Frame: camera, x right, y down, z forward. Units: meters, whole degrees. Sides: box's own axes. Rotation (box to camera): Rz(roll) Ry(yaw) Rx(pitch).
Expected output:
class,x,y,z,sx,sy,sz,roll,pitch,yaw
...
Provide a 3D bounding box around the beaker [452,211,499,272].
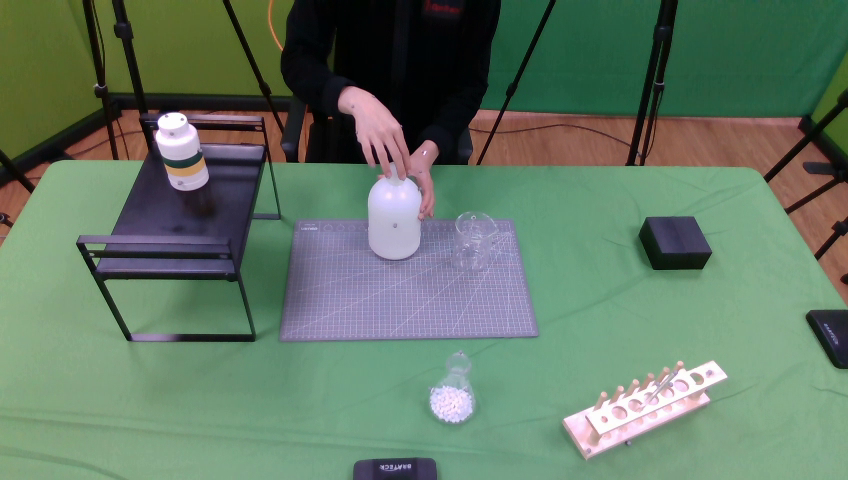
class,x,y,z,sx,sy,sz,roll,pitch,yaw
beaker,0.093,0.006,1.141,0.084,0.101,0.073,8,46,3

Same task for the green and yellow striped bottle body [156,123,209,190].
class,x,y,z,sx,sy,sz,roll,pitch,yaw
green and yellow striped bottle body,-0.395,-0.145,0.989,0.063,0.120,0.063,2,46,-2

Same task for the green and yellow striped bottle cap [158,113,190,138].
class,x,y,z,sx,sy,sz,roll,pitch,yaw
green and yellow striped bottle cap,-0.393,-0.180,0.951,0.045,0.020,0.045,2,44,-2

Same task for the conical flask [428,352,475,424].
class,x,y,z,sx,sy,sz,roll,pitch,yaw
conical flask,0.046,0.220,0.920,0.075,0.122,0.075,2,46,-2

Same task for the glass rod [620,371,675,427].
class,x,y,z,sx,sy,sz,roll,pitch,yaw
glass rod,0.316,0.230,0.863,0.008,0.200,0.008,3,54,-3

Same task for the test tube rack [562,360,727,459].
class,x,y,z,sx,sy,sz,roll,pitch,yaw
test tube rack,0.341,0.247,0.940,0.243,0.085,0.066,-16,49,-18

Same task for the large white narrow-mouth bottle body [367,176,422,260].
class,x,y,z,sx,sy,sz,roll,pitch,yaw
large white narrow-mouth bottle body,-0.055,-0.058,1.127,0.102,0.195,0.101,3,45,-3

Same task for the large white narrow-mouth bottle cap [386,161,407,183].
class,x,y,z,sx,sy,sz,roll,pitch,yaw
large white narrow-mouth bottle cap,-0.048,-0.120,1.066,0.038,0.024,0.037,3,45,-3
